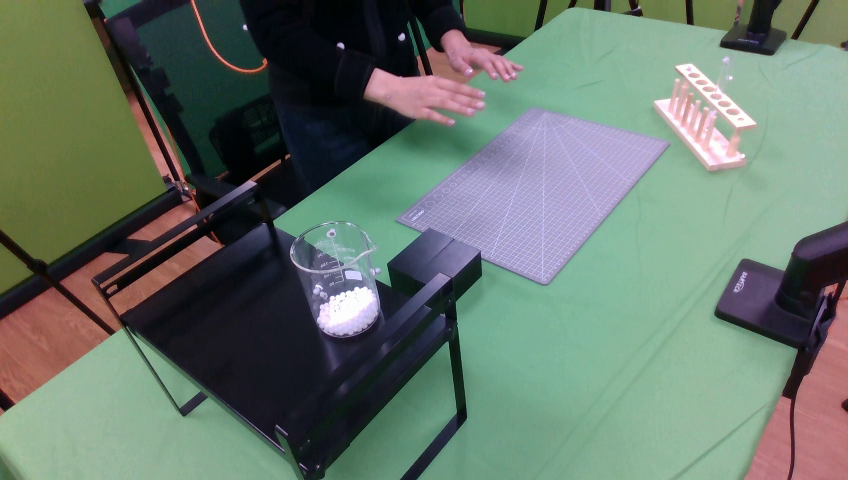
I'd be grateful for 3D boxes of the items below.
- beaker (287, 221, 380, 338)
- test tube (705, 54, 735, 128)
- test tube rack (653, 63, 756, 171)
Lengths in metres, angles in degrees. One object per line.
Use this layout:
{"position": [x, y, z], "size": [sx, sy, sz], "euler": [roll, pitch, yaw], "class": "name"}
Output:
{"position": [-0.083, 0.041, 0.602], "size": [0.084, 0.101, 0.073], "euler": [-5, 41, 3], "class": "beaker"}
{"position": [0.524, -0.260, 1.073], "size": [0.017, 0.151, 0.017], "euler": [-3, 47, 4], "class": "test tube"}
{"position": [0.510, -0.233, 1.120], "size": [0.067, 0.085, 0.241], "euler": [-9, 41, -1], "class": "test tube rack"}
